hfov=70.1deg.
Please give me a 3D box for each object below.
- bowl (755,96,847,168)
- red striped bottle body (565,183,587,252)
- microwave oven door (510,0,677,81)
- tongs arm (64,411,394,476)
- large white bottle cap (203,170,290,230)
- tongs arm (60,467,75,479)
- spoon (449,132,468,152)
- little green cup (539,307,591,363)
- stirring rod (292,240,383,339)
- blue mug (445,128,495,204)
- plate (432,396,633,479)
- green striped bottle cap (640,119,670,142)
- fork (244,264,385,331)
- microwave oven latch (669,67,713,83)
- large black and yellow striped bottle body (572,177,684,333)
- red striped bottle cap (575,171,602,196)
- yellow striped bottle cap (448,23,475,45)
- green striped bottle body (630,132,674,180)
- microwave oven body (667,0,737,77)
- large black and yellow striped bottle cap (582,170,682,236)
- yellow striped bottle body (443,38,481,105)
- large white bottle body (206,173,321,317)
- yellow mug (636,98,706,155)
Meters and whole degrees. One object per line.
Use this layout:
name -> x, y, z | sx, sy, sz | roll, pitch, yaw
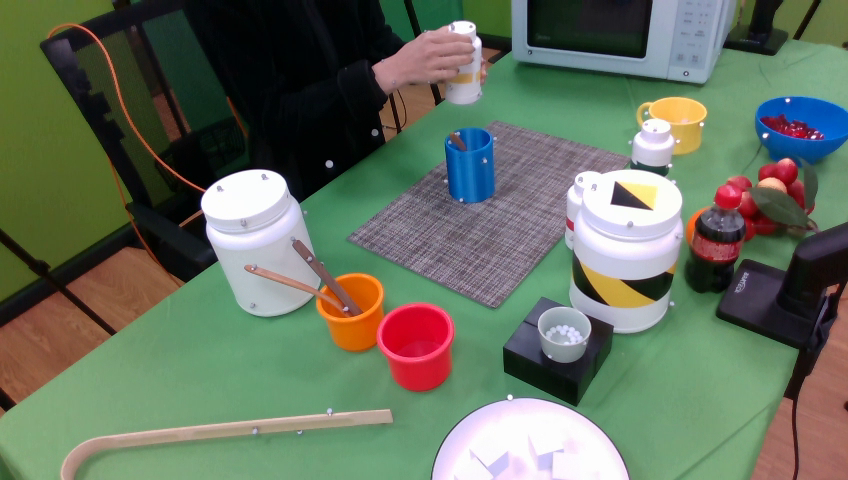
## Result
bowl -> 0.645, -0.177, 1.041 | 0.151, 0.077, 0.150 | -5, 40, 4
red striped bottle body -> 0.247, -0.041, 0.910 | 0.063, 0.120, 0.062 | -3, 39, 3
microwave oven door -> 0.354, -0.478, 1.290 | 0.353, 0.245, 0.039 | 15, 45, 25
tongs arm -> -0.228, 0.241, 0.715 | 0.385, 0.026, 0.050 | -5, 44, 4
large white bottle cap -> -0.241, -0.057, 0.822 | 0.115, 0.018, 0.114 | -4, 41, 4
tongs arm -> -0.239, 0.301, 0.649 | 0.386, 0.028, 0.028 | 6, 49, 16
spoon -> 0.067, -0.143, 0.998 | 0.041, 0.195, 0.021 | 8, 78, 18
little green cup -> 0.167, 0.114, 0.721 | 0.061, 0.039, 0.061 | -4, 43, 4
stirring rod -> -0.118, 0.068, 0.826 | 0.176, 0.006, 0.014 | 49, 60, -4
blue mug -> 0.081, -0.139, 1.058 | 0.082, 0.106, 0.116 | -4, 40, 4
plate -> 0.112, 0.261, 0.634 | 0.209, 0.038, 0.208 | -5, 40, 4
green striped bottle cap -> 0.370, -0.175, 0.968 | 0.044, 0.020, 0.044 | -3, 41, 3
fork -> -0.142, 0.078, 0.806 | 0.209, 0.018, 0.028 | 30, 34, -24
microwave oven latch -> 0.556, -0.348, 1.261 | 0.078, 0.029, 0.030 | 16, 46, 27
large black and yellow striped bottle body -> 0.262, 0.017, 0.788 | 0.131, 0.185, 0.130 | -5, 40, 4
red striped bottle cap -> 0.242, -0.082, 0.876 | 0.044, 0.018, 0.044 | -5, 44, 5
yellow striped bottle cap -> 0.059, -0.326, 0.958 | 0.044, 0.019, 0.044 | -3, 41, 3
green striped bottle body -> 0.376, -0.135, 1.001 | 0.063, 0.120, 0.063 | -5, 40, 5
microwave oven body -> 0.462, -0.552, 1.369 | 0.439, 0.261, 0.326 | 15, 45, 26
large black and yellow striped bottle cap -> 0.252, -0.048, 0.735 | 0.115, 0.019, 0.114 | -3, 40, 3
yellow striped bottle body -> 0.063, -0.289, 0.994 | 0.063, 0.121, 0.062 | -2, 43, 2
large white bottle body -> -0.233, 0.007, 0.876 | 0.130, 0.185, 0.130 | -5, 40, 4
yellow mug -> 0.453, -0.217, 1.128 | 0.100, 0.064, 0.129 | -34, 46, -27
